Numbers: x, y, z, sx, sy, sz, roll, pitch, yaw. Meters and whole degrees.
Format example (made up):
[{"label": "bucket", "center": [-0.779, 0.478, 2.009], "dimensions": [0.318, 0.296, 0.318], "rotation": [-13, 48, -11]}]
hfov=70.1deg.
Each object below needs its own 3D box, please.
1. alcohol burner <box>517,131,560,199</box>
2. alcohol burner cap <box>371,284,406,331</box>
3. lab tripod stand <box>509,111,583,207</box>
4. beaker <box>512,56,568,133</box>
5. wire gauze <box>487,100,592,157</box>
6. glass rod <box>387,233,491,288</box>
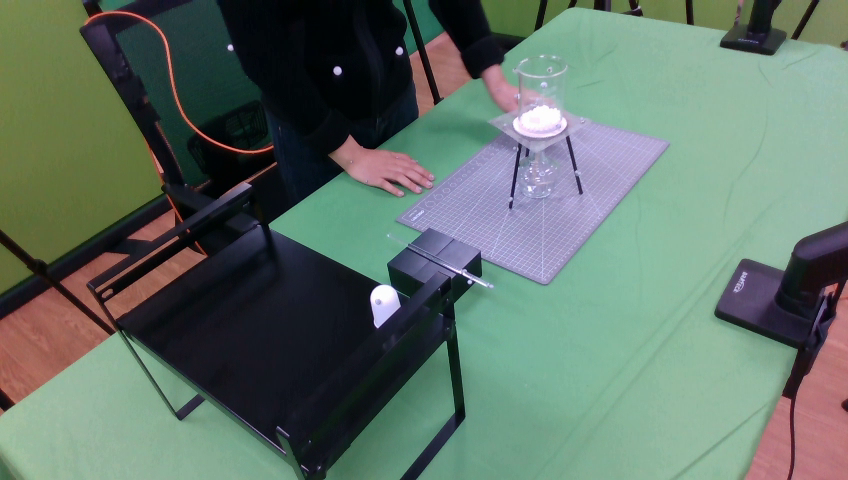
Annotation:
[{"label": "alcohol burner", "center": [0.193, -0.131, 1.026], "dimensions": [0.078, 0.119, 0.077], "rotation": [-4, 38, 4]}, {"label": "alcohol burner cap", "center": [-0.037, 0.065, 0.608], "dimensions": [0.034, 0.048, 0.033], "rotation": [-4, 41, 4]}, {"label": "lab tripod stand", "center": [0.198, -0.139, 1.019], "dimensions": [0.148, 0.132, 0.147], "rotation": [-3, 39, 3]}, {"label": "beaker", "center": [0.181, -0.225, 0.946], "dimensions": [0.084, 0.101, 0.074], "rotation": [3, 41, 12]}, {"label": "wire gauze", "center": [0.185, -0.187, 0.974], "dimensions": [0.122, 0.011, 0.124], "rotation": [-28, 47, -22]}, {"label": "glass rod", "center": [0.017, 0.027, 0.877], "dimensions": [0.198, 0.008, 0.008], "rotation": [26, 51, 34]}]
